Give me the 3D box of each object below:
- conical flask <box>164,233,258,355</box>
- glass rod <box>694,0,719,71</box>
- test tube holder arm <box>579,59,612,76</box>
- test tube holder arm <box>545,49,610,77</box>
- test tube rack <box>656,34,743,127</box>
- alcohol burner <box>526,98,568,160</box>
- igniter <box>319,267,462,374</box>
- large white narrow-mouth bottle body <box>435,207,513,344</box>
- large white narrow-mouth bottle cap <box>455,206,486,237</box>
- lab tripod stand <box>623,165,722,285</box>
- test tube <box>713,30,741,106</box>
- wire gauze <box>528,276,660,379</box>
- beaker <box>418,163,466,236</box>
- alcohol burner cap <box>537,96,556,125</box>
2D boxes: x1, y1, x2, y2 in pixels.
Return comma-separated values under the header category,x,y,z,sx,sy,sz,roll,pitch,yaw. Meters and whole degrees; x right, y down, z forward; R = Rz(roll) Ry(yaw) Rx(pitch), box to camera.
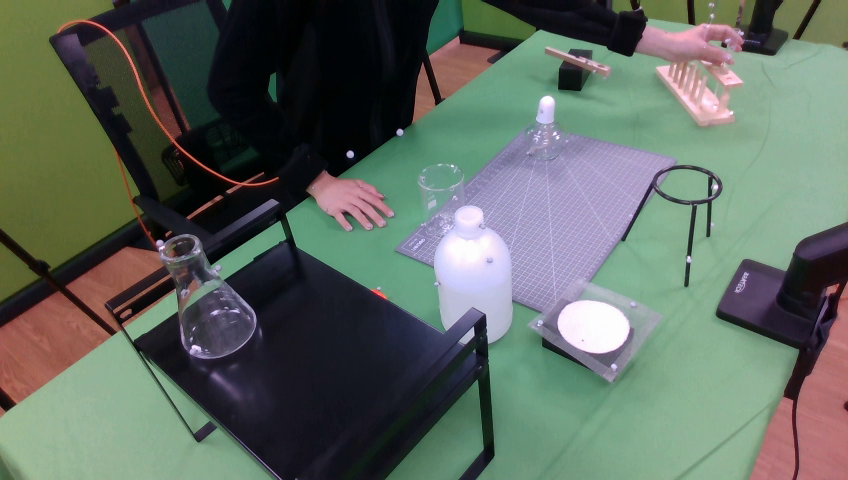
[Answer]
category,x,y,z,sx,sy,sz,roll,pitch,yaw
conical flask,-0.217,0.051,0.601,0.075,0.122,0.075,-4,40,4
glass rod,0.561,-0.401,1.214,0.008,0.200,0.008,-1,49,2
test tube holder arm,0.363,-0.368,1.289,0.010,0.015,0.087,-26,43,-31
test tube holder arm,0.330,-0.387,1.314,0.013,0.015,0.177,-25,43,-30
test tube rack,0.553,-0.330,1.233,0.067,0.085,0.241,-7,40,2
alcohol burner,0.228,-0.210,1.118,0.078,0.119,0.077,-5,43,5
igniter,-0.059,0.107,0.862,0.274,0.025,0.057,28,62,34
large white narrow-mouth bottle body,0.065,0.041,0.791,0.102,0.195,0.101,-4,41,4
large white narrow-mouth bottle cap,0.056,-0.023,0.734,0.038,0.024,0.037,-4,41,4
lab tripod stand,0.365,-0.030,0.875,0.148,0.132,0.147,-6,41,6
test tube,0.573,-0.323,1.146,0.017,0.151,0.017,-3,40,3
wire gauze,0.214,0.103,0.763,0.124,0.011,0.122,30,53,35
beaker,0.035,-0.065,0.990,0.073,0.101,0.084,24,49,32
alcohol burner cap,0.223,-0.237,1.095,0.034,0.048,0.033,0,42,1
